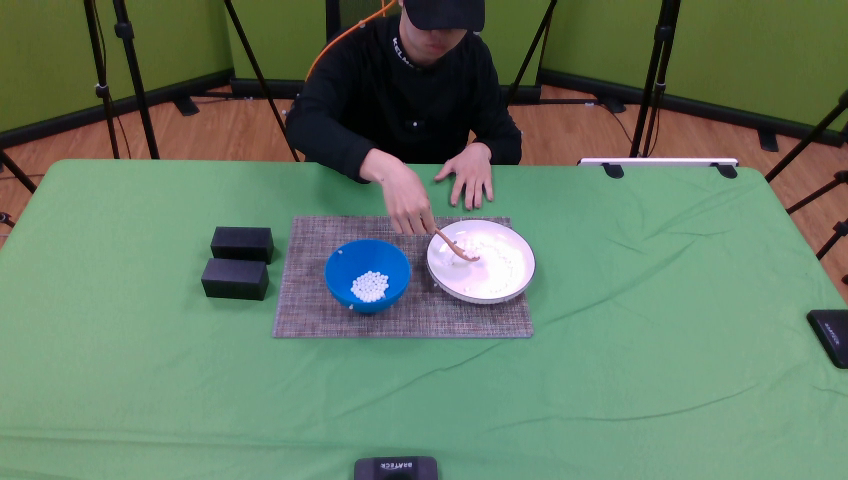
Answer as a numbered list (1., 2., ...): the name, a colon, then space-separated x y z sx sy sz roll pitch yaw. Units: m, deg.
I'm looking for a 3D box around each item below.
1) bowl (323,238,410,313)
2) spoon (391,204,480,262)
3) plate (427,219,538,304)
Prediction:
1. bowl: -0.101 0.077 1.073 0.151 0.077 0.150 2 46 -2
2. spoon: 0.022 -0.014 1.122 0.194 0.021 0.041 36 20 -9
3. plate: 0.109 0.044 1.149 0.208 0.039 0.206 2 46 -2
